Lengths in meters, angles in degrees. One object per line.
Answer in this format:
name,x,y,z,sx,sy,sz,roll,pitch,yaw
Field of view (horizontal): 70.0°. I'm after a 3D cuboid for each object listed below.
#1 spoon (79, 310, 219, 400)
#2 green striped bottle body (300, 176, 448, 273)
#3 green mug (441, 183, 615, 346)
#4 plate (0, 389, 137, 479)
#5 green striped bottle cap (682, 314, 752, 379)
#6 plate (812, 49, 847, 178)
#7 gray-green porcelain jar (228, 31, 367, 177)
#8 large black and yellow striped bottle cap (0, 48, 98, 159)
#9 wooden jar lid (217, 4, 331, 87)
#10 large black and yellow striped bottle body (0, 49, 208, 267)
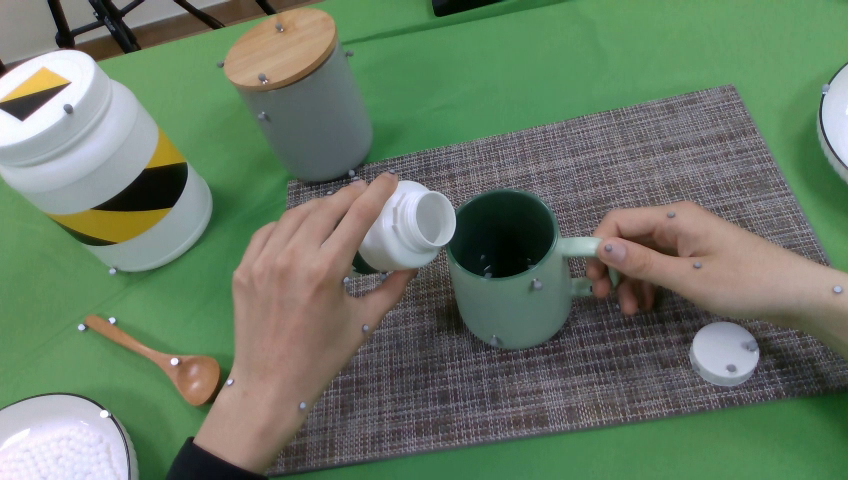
spoon,-0.252,0.094,0.544,0.192,0.022,0.041,18,82,24
green striped bottle body,-0.036,-0.010,0.447,0.118,0.064,0.063,-9,48,48
green mug,0.077,0.019,0.450,0.125,0.106,0.091,-4,55,13
plate,-0.314,0.220,0.467,0.209,0.038,0.207,-7,55,10
green striped bottle cap,0.209,0.076,0.434,0.044,0.020,0.044,-7,52,9
plate,0.421,-0.090,0.477,0.207,0.039,0.205,-7,55,11
gray-green porcelain jar,-0.119,-0.134,0.595,0.106,0.128,0.105,-8,51,10
large black and yellow striped bottle cap,-0.326,-0.115,0.501,0.115,0.019,0.114,-7,54,10
wooden jar lid,-0.133,-0.172,0.546,0.108,0.021,0.107,-9,54,13
large black and yellow striped bottle body,-0.306,-0.071,0.570,0.130,0.186,0.129,-7,56,11
